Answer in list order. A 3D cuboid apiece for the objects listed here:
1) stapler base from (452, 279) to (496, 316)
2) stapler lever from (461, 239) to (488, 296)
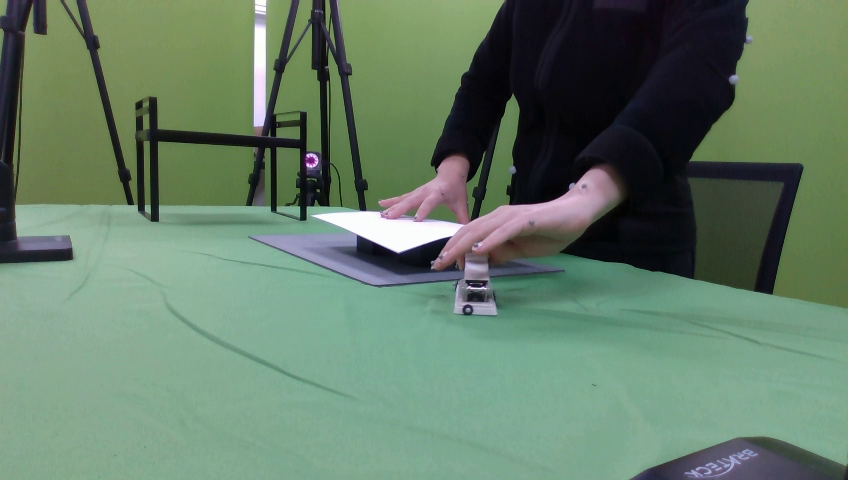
[{"bbox_3d":[0.051,0.050,0.619,0.041,0.024,0.130,-3,9,5],"label":"stapler base"},{"bbox_3d":[0.051,0.026,0.614,0.027,0.040,0.118,-3,9,5],"label":"stapler lever"}]
